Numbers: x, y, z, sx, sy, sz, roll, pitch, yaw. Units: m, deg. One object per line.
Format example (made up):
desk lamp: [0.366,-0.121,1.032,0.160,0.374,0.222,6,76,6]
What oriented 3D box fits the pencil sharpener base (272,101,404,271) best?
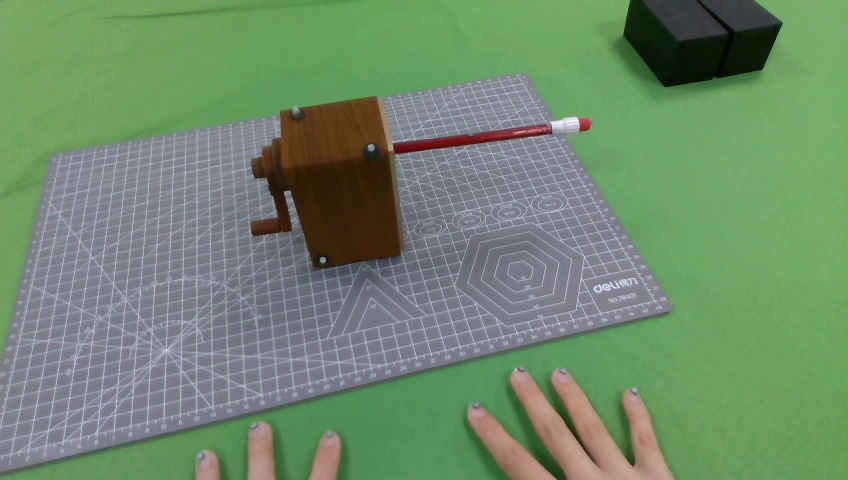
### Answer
pencil sharpener base: [-0.059,-0.035,0.430,0.077,0.108,0.060,-10,49,-5]

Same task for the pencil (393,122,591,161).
pencil: [0.022,-0.064,0.419,0.194,0.012,0.012,-9,49,-6]

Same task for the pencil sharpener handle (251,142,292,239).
pencil sharpener handle: [-0.108,-0.031,0.412,0.031,0.068,0.035,-10,30,-5]
